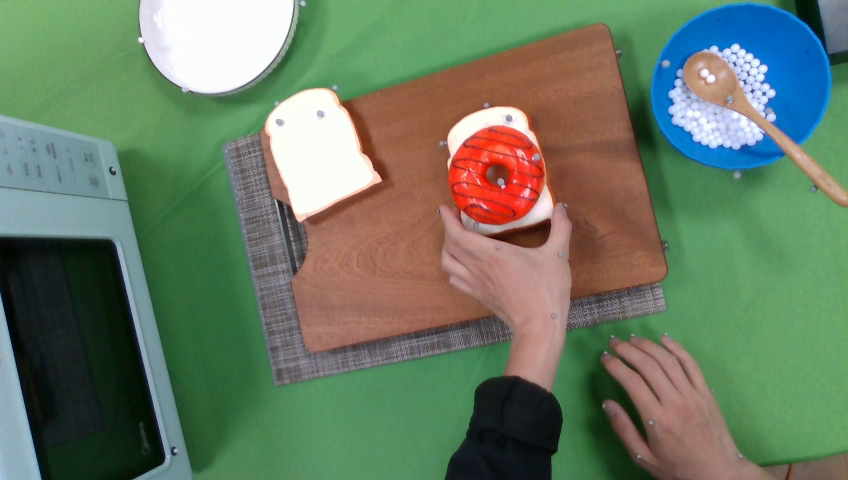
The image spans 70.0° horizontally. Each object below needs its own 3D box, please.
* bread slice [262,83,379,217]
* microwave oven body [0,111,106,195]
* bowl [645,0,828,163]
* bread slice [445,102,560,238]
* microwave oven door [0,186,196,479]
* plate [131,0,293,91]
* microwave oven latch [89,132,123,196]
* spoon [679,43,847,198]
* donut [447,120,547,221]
[{"bbox_3d":[-0.123,-0.104,0.673,0.107,0.018,0.134,-28,83,11],"label":"bread slice"},{"bbox_3d":[-0.511,0.120,0.670,0.325,0.261,0.441,-16,87,12],"label":"microwave oven body"},{"bbox_3d":[0.285,-0.143,0.577,0.151,0.077,0.151,0,91,13],"label":"bowl"},{"bbox_3d":[0.074,-0.076,0.629,0.105,0.019,0.131,-15,88,12],"label":"bread slice"},{"bbox_3d":[-0.364,0.121,0.630,0.039,0.244,0.355,-16,87,13],"label":"microwave oven door"},{"bbox_3d":[-0.248,-0.279,0.722,0.207,0.039,0.207,0,91,13],"label":"plate"},{"bbox_3d":[-0.395,-0.090,0.740,0.030,0.029,0.079,-16,88,12],"label":"microwave oven latch"},{"bbox_3d":[0.301,-0.108,0.541,0.041,0.022,0.192,-40,64,15],"label":"spoon"},{"bbox_3d":[0.071,-0.068,0.598,0.099,0.048,0.099,0,91,13],"label":"donut"}]
